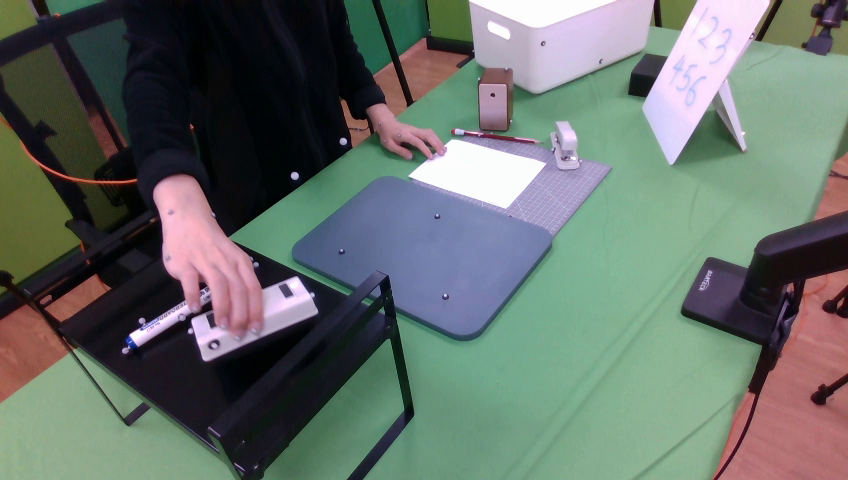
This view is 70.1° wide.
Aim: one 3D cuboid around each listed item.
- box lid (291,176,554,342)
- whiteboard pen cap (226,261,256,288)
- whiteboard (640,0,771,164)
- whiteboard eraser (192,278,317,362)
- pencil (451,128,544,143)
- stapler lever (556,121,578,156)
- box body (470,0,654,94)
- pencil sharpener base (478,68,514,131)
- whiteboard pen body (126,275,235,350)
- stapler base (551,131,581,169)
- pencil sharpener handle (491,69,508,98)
[{"bbox_3d":[-0.005,0.011,0.972,0.368,0.015,0.264,21,49,30],"label":"box lid"},{"bbox_3d":[-0.207,0.039,0.677,0.033,0.018,0.018,-37,48,-19],"label":"whiteboard pen cap"},{"bbox_3d":[0.543,-0.299,1.076,0.144,0.305,0.216,12,40,-7],"label":"whiteboard"},{"bbox_3d":[-0.165,0.080,0.595,0.113,0.042,0.055,-22,32,-20],"label":"whiteboard eraser"},{"bbox_3d":[0.145,-0.207,1.204,0.193,0.012,0.012,11,44,20],"label":"pencil"},{"bbox_3d":[0.266,-0.198,1.128,0.027,0.040,0.117,0,38,3],"label":"stapler lever"},{"bbox_3d":[0.319,-0.498,1.405,0.365,0.161,0.252,-26,43,-21],"label":"box body"},{"bbox_3d":[0.148,-0.286,1.225,0.061,0.107,0.076,5,41,15],"label":"pencil sharpener base"},{"bbox_3d":[-0.251,0.070,0.649,0.141,0.017,0.017,-36,48,-25],"label":"whiteboard pen body"},{"bbox_3d":[0.268,-0.178,1.142,0.041,0.024,0.130,0,37,3],"label":"stapler base"},{"bbox_3d":[0.155,-0.329,1.254,0.036,0.068,0.030,17,43,3],"label":"pencil sharpener handle"}]
